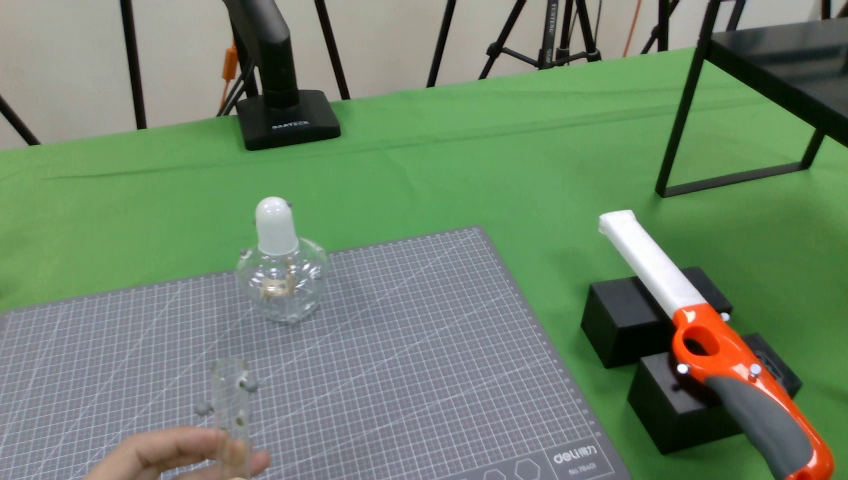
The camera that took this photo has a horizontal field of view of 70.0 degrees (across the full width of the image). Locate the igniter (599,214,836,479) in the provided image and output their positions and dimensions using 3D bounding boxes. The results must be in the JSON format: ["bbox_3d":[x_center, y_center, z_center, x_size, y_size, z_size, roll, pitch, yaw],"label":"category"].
[{"bbox_3d":[0.202,0.065,0.452,0.057,0.025,0.273,-10,38,-7],"label":"igniter"}]

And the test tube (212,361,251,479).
[{"bbox_3d":[-0.094,0.123,0.301,0.017,0.151,0.017,6,27,-3],"label":"test tube"}]

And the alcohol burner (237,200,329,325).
[{"bbox_3d":[-0.120,0.015,0.510,0.078,0.120,0.077,2,40,-1],"label":"alcohol burner"}]

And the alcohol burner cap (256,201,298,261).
[{"bbox_3d":[-0.121,-0.010,0.491,0.034,0.048,0.033,3,38,-2],"label":"alcohol burner cap"}]
